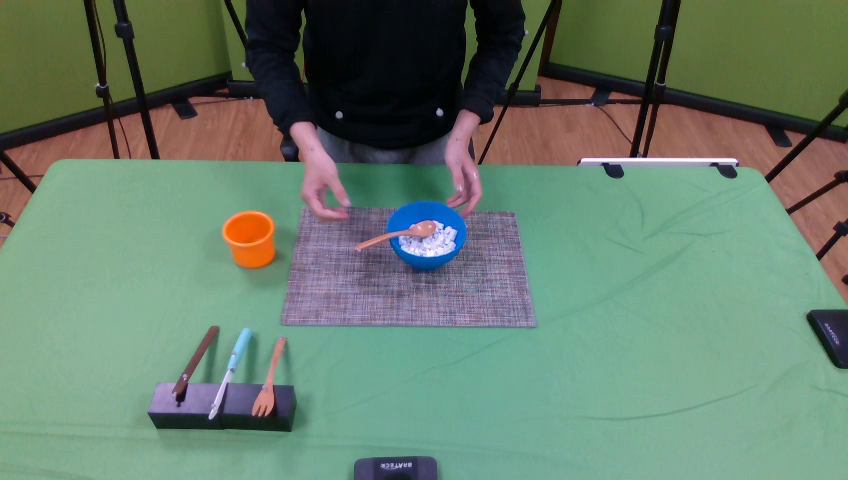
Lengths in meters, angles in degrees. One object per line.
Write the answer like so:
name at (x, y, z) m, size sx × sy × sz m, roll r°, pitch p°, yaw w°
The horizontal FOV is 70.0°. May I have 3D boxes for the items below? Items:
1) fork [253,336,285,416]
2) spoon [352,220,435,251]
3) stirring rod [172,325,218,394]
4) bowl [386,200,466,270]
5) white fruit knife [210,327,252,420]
fork at (-0.235, 0.206, 0.938) m, size 0.028 × 0.019 × 0.206 m, roll -3°, pitch 26°, yaw -3°
spoon at (-0.054, -0.009, 1.109) m, size 0.194 × 0.022 × 0.041 m, roll -14°, pitch 40°, yaw -42°
stirring rod at (-0.361, 0.185, 0.962) m, size 0.014 × 0.006 × 0.175 m, roll 1°, pitch 26°, yaw 0°
bowl at (0.002, 0.003, 1.150) m, size 0.151 × 0.077 × 0.150 m, roll 2°, pitch 46°, yaw -2°
white fruit knife at (-0.298, 0.200, 0.937) m, size 0.016 × 0.027 × 0.206 m, roll 0°, pitch 30°, yaw 0°
